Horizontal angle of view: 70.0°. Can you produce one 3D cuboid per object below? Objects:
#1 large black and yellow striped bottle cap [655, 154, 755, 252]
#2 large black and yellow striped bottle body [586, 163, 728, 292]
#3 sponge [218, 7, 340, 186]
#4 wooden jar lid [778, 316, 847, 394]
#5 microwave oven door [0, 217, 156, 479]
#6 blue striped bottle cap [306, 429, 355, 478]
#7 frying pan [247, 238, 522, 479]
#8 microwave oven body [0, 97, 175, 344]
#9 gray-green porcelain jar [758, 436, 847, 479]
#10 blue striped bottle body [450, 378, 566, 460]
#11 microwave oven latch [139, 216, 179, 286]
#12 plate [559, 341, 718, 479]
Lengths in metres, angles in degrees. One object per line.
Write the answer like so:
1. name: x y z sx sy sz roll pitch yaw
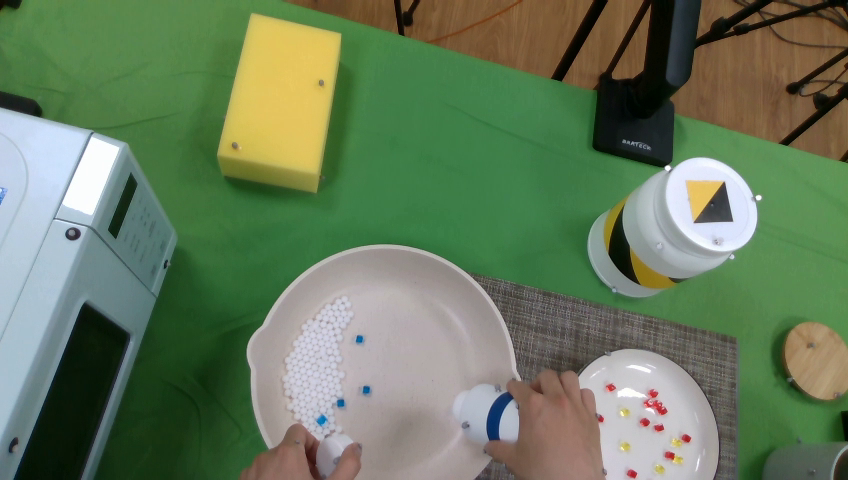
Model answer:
1. large black and yellow striped bottle cap: 0.317 -0.043 0.682 0.115 0.019 0.114 4 70 -11
2. large black and yellow striped bottle body: 0.301 -0.017 0.762 0.131 0.184 0.130 4 71 -10
3. sponge: -0.181 -0.183 0.776 0.118 0.061 0.205 9 72 -9
4. wooden jar lid: 0.542 0.161 0.845 0.109 0.021 0.108 3 73 -10
5. microwave oven door: -0.328 0.180 0.514 0.039 0.244 0.353 14 70 -7
6. blue striped bottle cap: -0.089 0.203 0.576 0.044 0.021 0.044 -8 68 21
7. frying pan: -0.059 0.235 0.645 0.307 0.103 0.484 13 62 -5
8. microwave oven body: -0.460 0.106 0.514 0.327 0.261 0.439 14 71 -8
9. gray-green porcelain jar: 0.485 0.292 0.735 0.106 0.127 0.105 4 72 -11
10. blue striped bottle body: 0.082 0.182 0.633 0.063 0.120 0.063 -3 94 -42
11. microwave oven latch: -0.302 0.009 0.682 0.030 0.029 0.078 17 71 -7
12. plate: 0.259 0.231 0.749 0.210 0.038 0.208 4 72 -10
